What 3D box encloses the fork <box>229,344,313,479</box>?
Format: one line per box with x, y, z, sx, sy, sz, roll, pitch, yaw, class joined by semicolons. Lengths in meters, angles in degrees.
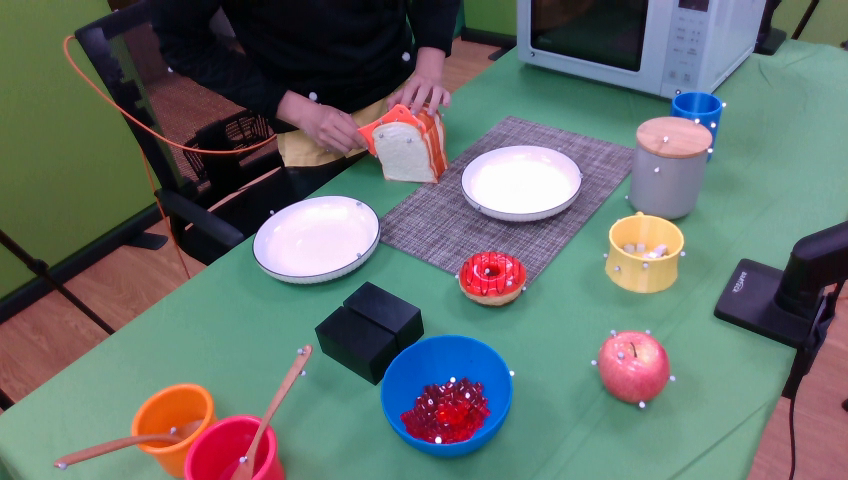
-0.173;0.205;0.662;0.028;0.019;0.207;29;94;36;fork

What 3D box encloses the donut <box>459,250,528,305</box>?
0.100;0.053;0.872;0.099;0.048;0.098;-5;40;4;donut

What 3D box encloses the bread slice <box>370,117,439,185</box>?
-0.041;-0.158;1.079;0.106;0.135;0.018;-5;41;19;bread slice

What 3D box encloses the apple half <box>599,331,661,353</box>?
0.249;0.134;0.738;0.081;0.081;0.032;-1;46;7;apple half

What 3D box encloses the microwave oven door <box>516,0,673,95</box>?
0.344;-0.458;1.256;0.353;0.245;0.039;26;51;33;microwave oven door

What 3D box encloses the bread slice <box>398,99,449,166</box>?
-0.008;-0.198;1.118;0.104;0.132;0.019;7;40;16;bread slice

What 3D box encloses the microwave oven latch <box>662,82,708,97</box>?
0.518;-0.298;1.202;0.078;0.029;0.030;28;53;35;microwave oven latch

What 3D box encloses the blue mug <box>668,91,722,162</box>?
0.474;-0.207;1.079;0.082;0.106;0.116;4;42;13;blue mug

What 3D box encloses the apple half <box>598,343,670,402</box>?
0.247;0.161;0.710;0.081;0.075;0.053;2;47;5;apple half

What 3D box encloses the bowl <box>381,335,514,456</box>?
0.029;0.192;0.701;0.151;0.077;0.150;-4;40;4;bowl

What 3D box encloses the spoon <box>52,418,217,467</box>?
-0.308;0.220;0.663;0.041;0.195;0.021;21;93;29;spoon

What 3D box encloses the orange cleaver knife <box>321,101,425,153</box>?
-0.094;-0.190;1.091;0.210;0.077;0.012;-14;35;32;orange cleaver knife

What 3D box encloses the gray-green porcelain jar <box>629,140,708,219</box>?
0.383;-0.105;0.958;0.106;0.127;0.105;-4;41;4;gray-green porcelain jar

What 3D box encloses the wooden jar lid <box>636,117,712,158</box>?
0.377;-0.151;0.917;0.108;0.021;0.108;-2;42;2;wooden jar lid

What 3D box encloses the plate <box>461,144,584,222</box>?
0.168;-0.095;1.040;0.207;0.039;0.206;-4;40;4;plate

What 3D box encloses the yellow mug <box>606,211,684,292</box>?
0.318;0.008;0.883;0.100;0.064;0.130;0;40;9;yellow mug

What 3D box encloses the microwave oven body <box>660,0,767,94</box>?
0.473;-0.516;1.313;0.438;0.261;0.327;26;51;34;microwave oven body

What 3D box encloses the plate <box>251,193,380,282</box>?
-0.173;-0.001;0.984;0.209;0.038;0.208;-4;40;4;plate
